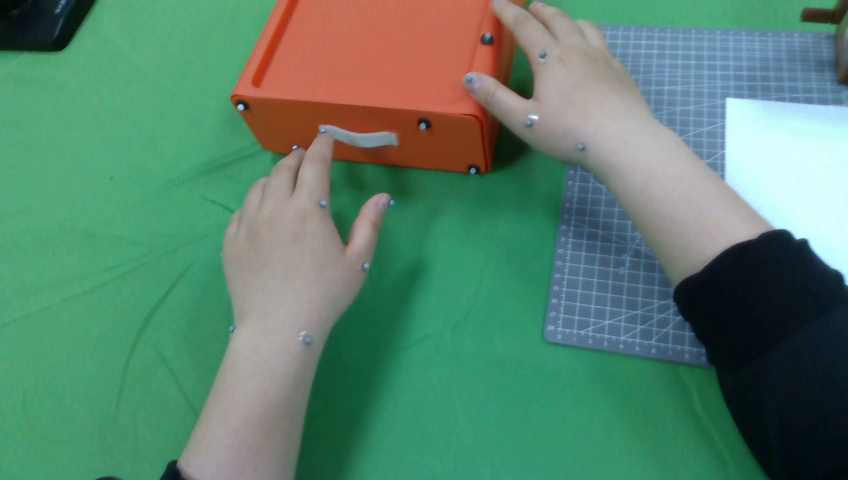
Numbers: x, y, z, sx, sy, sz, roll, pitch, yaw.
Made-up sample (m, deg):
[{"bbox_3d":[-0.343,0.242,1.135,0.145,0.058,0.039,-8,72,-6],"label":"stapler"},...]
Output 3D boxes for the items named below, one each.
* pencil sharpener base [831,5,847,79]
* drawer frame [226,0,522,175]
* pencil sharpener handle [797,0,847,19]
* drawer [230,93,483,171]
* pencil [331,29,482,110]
[{"bbox_3d":[0.343,-0.168,0.428,0.076,0.108,0.061,9,64,16],"label":"pencil sharpener base"},{"bbox_3d":[-0.030,-0.171,0.513,0.201,0.083,0.212,7,63,14],"label":"drawer frame"},{"bbox_3d":[0.293,-0.183,0.431,0.030,0.068,0.036,9,71,16],"label":"pencil sharpener handle"},{"bbox_3d":[-0.029,-0.168,0.513,0.194,0.074,0.210,7,63,14],"label":"drawer"},{"bbox_3d":[-0.023,-0.157,0.540,0.192,0.012,0.012,35,73,30],"label":"pencil"}]
